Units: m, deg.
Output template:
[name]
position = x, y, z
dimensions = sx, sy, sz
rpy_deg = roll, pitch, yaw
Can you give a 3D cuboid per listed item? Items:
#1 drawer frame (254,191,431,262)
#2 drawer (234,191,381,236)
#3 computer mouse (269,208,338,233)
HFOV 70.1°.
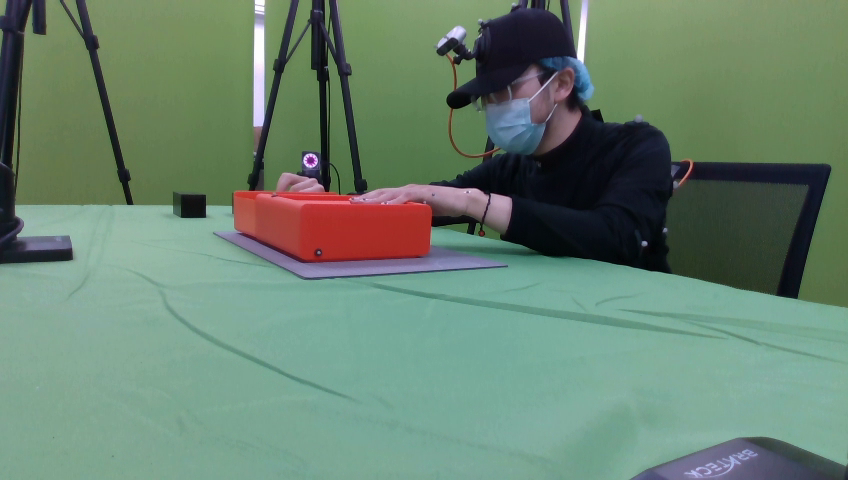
[drawer frame]
position = -0.128, -0.027, 0.912
dimensions = 0.203, 0.082, 0.212
rpy_deg = -1, 8, -31
[drawer]
position = -0.196, -0.043, 1.020
dimensions = 0.195, 0.073, 0.210
rpy_deg = -1, 7, -32
[computer mouse]
position = -0.210, -0.033, 1.056
dimensions = 0.117, 0.041, 0.062
rpy_deg = -4, 10, -5
